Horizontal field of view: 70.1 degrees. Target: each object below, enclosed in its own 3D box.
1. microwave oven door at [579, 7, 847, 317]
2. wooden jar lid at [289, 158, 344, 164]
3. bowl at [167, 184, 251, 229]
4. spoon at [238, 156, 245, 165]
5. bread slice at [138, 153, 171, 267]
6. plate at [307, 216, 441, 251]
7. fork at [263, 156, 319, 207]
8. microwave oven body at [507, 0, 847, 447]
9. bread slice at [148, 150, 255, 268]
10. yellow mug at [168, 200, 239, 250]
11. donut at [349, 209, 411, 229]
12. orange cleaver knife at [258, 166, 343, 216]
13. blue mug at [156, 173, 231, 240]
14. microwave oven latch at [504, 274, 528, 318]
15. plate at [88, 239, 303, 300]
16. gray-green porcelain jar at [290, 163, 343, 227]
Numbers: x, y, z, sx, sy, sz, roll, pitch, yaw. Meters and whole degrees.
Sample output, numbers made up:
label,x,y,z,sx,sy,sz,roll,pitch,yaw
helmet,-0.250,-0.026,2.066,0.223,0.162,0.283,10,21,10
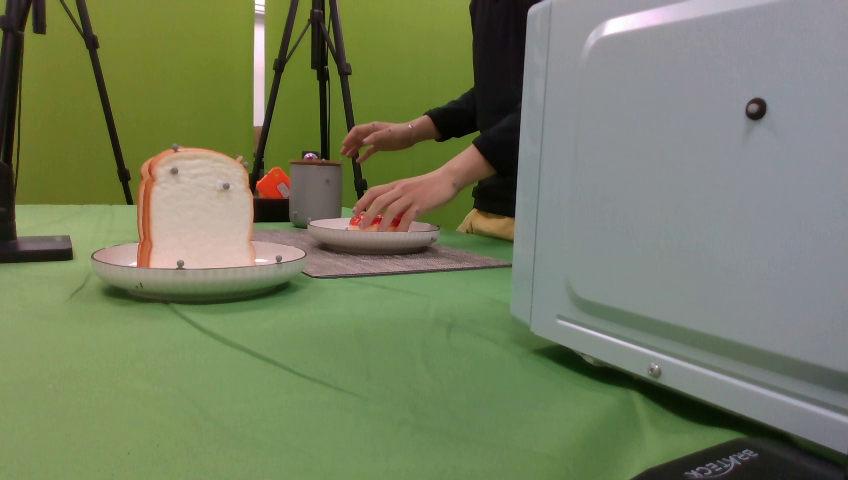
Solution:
label,x,y,z,sx,sy,sz,roll,pitch,yaw
microwave oven door,0.294,-0.067,0.570,0.358,0.243,0.039,-3,9,-31
wooden jar lid,-0.215,-0.153,1.212,0.108,0.020,0.108,2,5,0
bowl,-0.408,-0.064,1.154,0.151,0.077,0.151,2,8,0
spoon,-0.477,-0.145,1.492,0.041,0.022,0.193,0,51,13
bread slice,-0.256,-0.029,0.660,0.105,0.131,0.019,-1,0,-36
plate,-0.078,-0.011,0.954,0.209,0.038,0.209,2,7,0
fork,-0.331,-0.144,1.505,0.207,0.018,0.028,-42,-21,22
microwave oven body,0.331,-0.042,0.425,0.444,0.260,0.324,-2,8,-31
bread slice,-0.230,-0.024,0.618,0.107,0.134,0.018,-8,10,-34
yellow mug,-0.319,-0.023,0.904,0.130,0.064,0.100,9,11,36
donut,-0.070,-0.024,0.967,0.099,0.048,0.099,2,8,0
orange cleaver knife,-0.276,-0.090,1.369,0.212,0.077,0.012,33,-11,-34
blue mug,-0.381,-0.057,1.004,0.117,0.106,0.082,0,8,-12
microwave oven latch,0.100,0.041,0.471,0.079,0.029,0.030,-1,8,-28
plate,-0.233,0.029,0.636,0.208,0.039,0.207,2,7,0
gray-green porcelain jar,-0.217,-0.091,1.221,0.106,0.126,0.106,1,7,0
